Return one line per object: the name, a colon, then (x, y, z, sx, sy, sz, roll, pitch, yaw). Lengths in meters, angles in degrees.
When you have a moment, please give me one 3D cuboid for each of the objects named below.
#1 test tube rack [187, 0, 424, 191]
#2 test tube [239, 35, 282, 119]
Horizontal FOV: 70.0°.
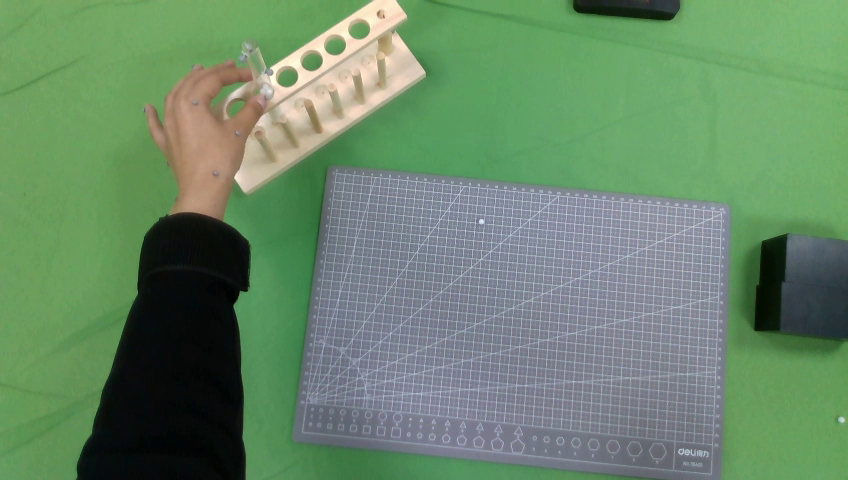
test tube rack: (-0.117, -0.156, 0.645, 0.242, 0.085, 0.066, -35, 82, -5)
test tube: (-0.158, -0.155, 0.596, 0.017, 0.150, 0.017, 1, 78, -4)
